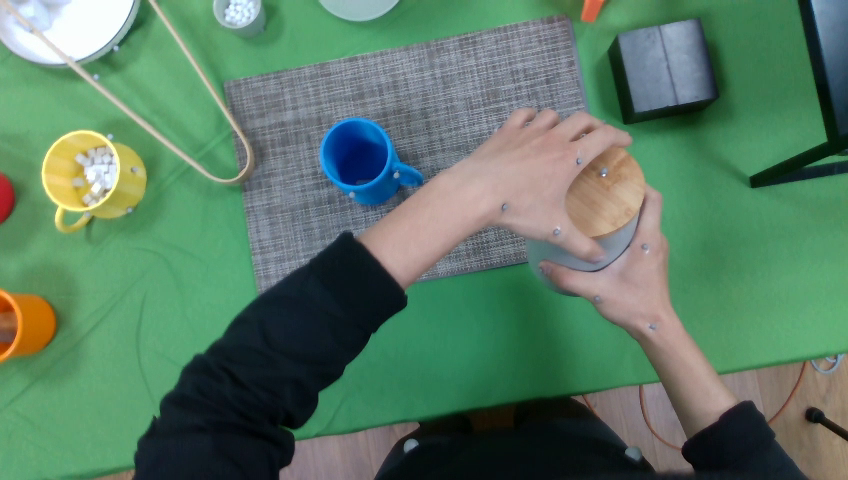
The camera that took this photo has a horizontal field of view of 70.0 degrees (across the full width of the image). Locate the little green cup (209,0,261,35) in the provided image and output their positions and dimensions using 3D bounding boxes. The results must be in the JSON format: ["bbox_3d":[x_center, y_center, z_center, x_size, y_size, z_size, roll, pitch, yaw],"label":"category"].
[{"bbox_3d":[-0.241,-0.297,0.782,0.061,0.039,0.061,0,87,3],"label":"little green cup"}]

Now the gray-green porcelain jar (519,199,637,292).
[{"bbox_3d":[0.149,-0.016,0.593,0.106,0.128,0.105,-6,58,9],"label":"gray-green porcelain jar"}]

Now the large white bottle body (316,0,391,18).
[{"bbox_3d":[-0.096,-0.359,0.706,0.130,0.185,0.130,0,85,3],"label":"large white bottle body"}]

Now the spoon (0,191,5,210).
[{"bbox_3d":[-0.619,-0.080,0.732,0.196,0.021,0.041,27,84,-39],"label":"spoon"}]

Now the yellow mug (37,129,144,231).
[{"bbox_3d":[-0.424,-0.070,0.761,0.100,0.064,0.131,28,89,4],"label":"yellow mug"}]

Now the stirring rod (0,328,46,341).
[{"bbox_3d":[-0.549,0.109,0.714,0.006,0.177,0.014,-24,64,44],"label":"stirring rod"}]

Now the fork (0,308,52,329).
[{"bbox_3d":[-0.560,0.092,0.713,0.209,0.018,0.028,7,83,-40],"label":"fork"}]

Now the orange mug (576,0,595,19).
[{"bbox_3d":[0.209,-0.340,0.732,0.083,0.101,0.126,12,82,5],"label":"orange mug"}]

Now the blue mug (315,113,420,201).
[{"bbox_3d":[-0.061,-0.091,0.720,0.116,0.106,0.082,15,86,4],"label":"blue mug"}]

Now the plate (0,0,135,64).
[{"bbox_3d":[-0.475,-0.329,0.797,0.207,0.039,0.207,0,86,3],"label":"plate"}]

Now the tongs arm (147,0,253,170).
[{"bbox_3d":[-0.326,-0.256,0.767,0.028,0.028,0.387,-35,91,-8],"label":"tongs arm"}]

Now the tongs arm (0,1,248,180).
[{"bbox_3d":[-0.387,-0.198,0.763,0.385,0.026,0.051,41,85,-2],"label":"tongs arm"}]

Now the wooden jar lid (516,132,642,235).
[{"bbox_3d":[0.137,-0.049,0.540,0.108,0.021,0.107,-5,60,9],"label":"wooden jar lid"}]
